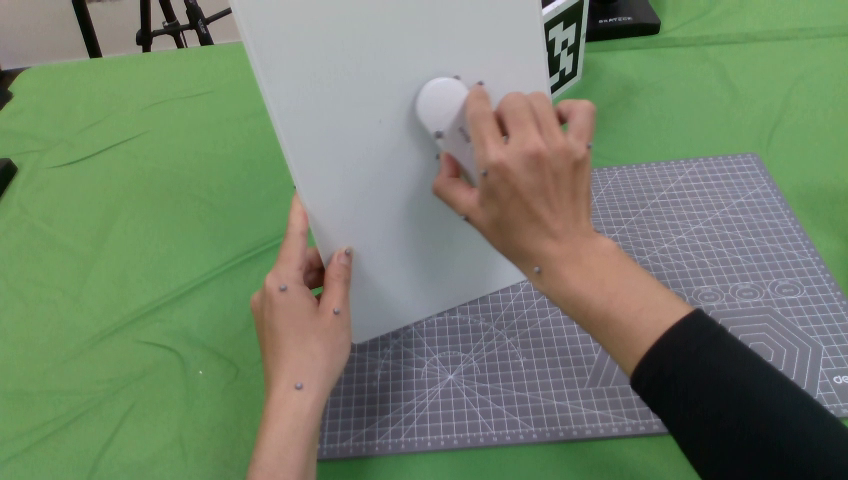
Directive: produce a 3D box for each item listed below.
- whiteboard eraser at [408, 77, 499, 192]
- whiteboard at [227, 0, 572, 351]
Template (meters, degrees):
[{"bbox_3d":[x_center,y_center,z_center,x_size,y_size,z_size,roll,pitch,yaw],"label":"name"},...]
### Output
[{"bbox_3d":[0.024,-0.079,0.466,0.041,0.102,0.018,-42,33,-6],"label":"whiteboard eraser"},{"bbox_3d":[-0.015,-0.098,0.528,0.217,0.308,0.142,-20,29,-10],"label":"whiteboard"}]
